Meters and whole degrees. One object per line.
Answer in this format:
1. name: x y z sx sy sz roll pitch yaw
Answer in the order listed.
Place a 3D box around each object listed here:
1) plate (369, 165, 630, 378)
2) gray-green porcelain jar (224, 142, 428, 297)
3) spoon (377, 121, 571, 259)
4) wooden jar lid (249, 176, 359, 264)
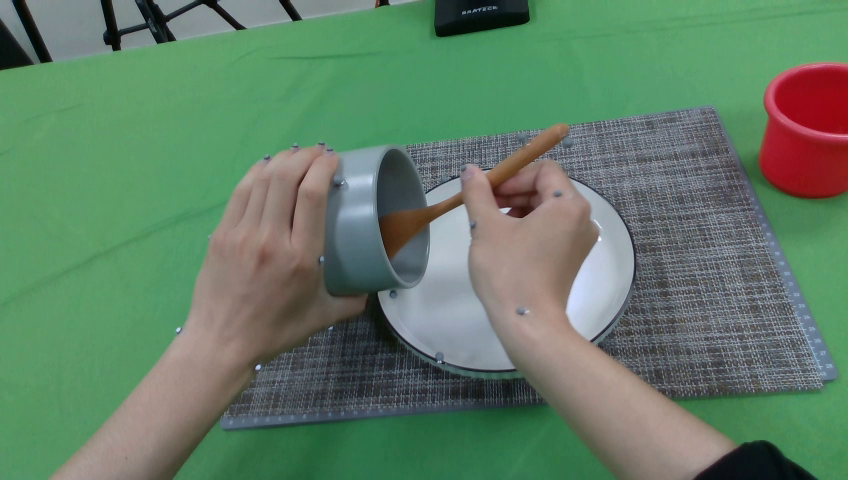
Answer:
1. plate: 0.059 0.023 0.496 0.207 0.039 0.205 -7 49 8
2. gray-green porcelain jar: -0.073 -0.012 0.453 0.126 0.107 0.105 -6 49 19
3. spoon: 0.021 -0.031 0.424 0.193 0.022 0.041 -28 52 33
4. wooden jar lid: -0.114 -0.018 0.585 0.108 0.021 0.107 -6 49 7
